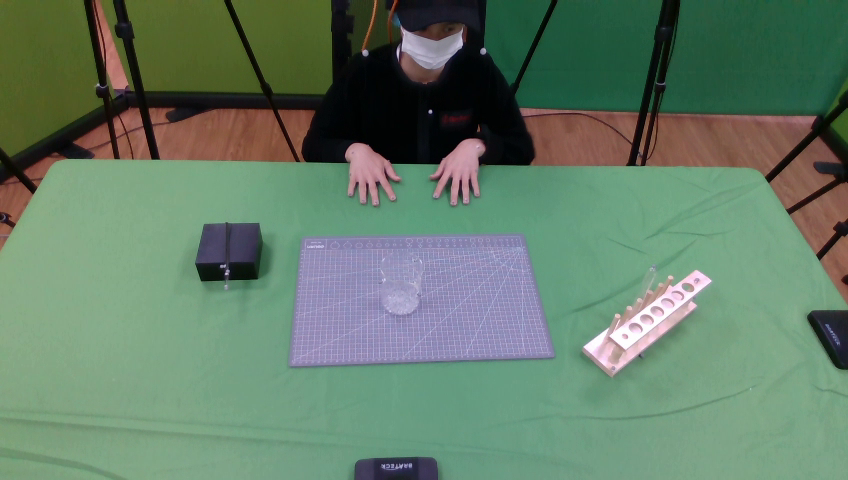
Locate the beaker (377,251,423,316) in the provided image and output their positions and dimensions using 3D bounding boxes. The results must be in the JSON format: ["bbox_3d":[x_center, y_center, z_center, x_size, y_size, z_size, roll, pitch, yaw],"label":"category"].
[{"bbox_3d":[-0.040,0.081,1.060,0.074,0.101,0.083,-32,57,-30],"label":"beaker"}]

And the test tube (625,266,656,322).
[{"bbox_3d":[0.366,0.096,1.027,0.017,0.151,0.017,1,47,0],"label":"test tube"}]

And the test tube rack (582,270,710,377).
[{"bbox_3d":[0.389,0.132,1.057,0.242,0.085,0.066,-28,53,-28],"label":"test tube rack"}]

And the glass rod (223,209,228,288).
[{"bbox_3d":[-0.361,0.010,1.098,0.008,0.008,0.198,-8,47,-12],"label":"glass rod"}]
